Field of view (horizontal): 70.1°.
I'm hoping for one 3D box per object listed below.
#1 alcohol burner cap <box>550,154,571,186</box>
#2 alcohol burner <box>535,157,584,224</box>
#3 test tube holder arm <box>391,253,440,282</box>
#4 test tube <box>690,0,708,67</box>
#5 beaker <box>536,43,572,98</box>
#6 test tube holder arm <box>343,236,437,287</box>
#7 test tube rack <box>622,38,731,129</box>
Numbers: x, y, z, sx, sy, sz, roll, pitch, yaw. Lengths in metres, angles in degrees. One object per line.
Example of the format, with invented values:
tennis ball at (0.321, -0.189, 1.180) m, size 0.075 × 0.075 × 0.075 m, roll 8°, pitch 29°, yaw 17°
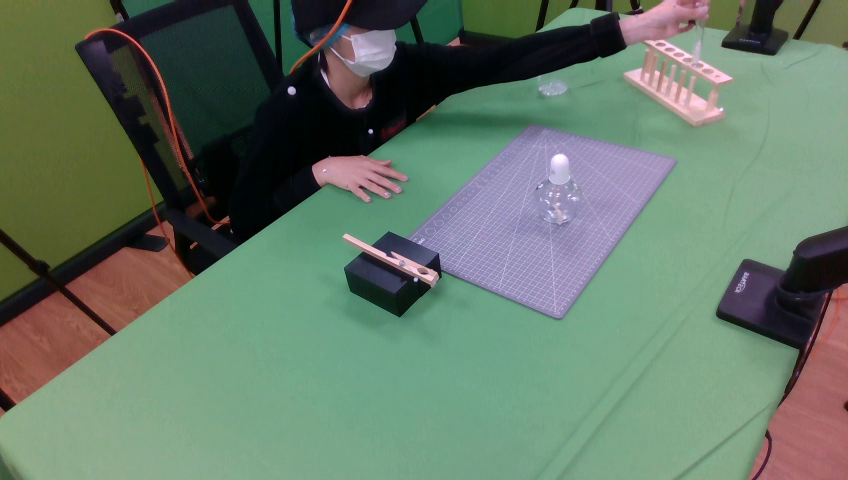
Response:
alcohol burner cap at (0.212, -0.112, 0.944) m, size 0.034 × 0.048 × 0.033 m, roll -6°, pitch 44°, yaw 7°
alcohol burner at (0.217, -0.085, 0.967) m, size 0.078 × 0.119 × 0.077 m, roll -3°, pitch 41°, yaw 3°
test tube holder arm at (-0.015, 0.039, 0.858) m, size 0.087 × 0.015 × 0.010 m, roll 22°, pitch 57°, yaw 32°
test tube at (0.515, -0.396, 1.131) m, size 0.017 × 0.151 × 0.017 m, roll -6°, pitch 39°, yaw 5°
beaker at (0.281, -0.368, 1.311) m, size 0.074 × 0.101 × 0.084 m, roll 4°, pitch 41°, yaw 14°
test tube holder arm at (-0.053, 0.029, 0.879) m, size 0.177 × 0.015 × 0.013 m, roll 22°, pitch 57°, yaw 32°
test tube rack at (0.506, -0.325, 1.234) m, size 0.067 × 0.085 × 0.240 m, roll -18°, pitch 41°, yaw -11°
